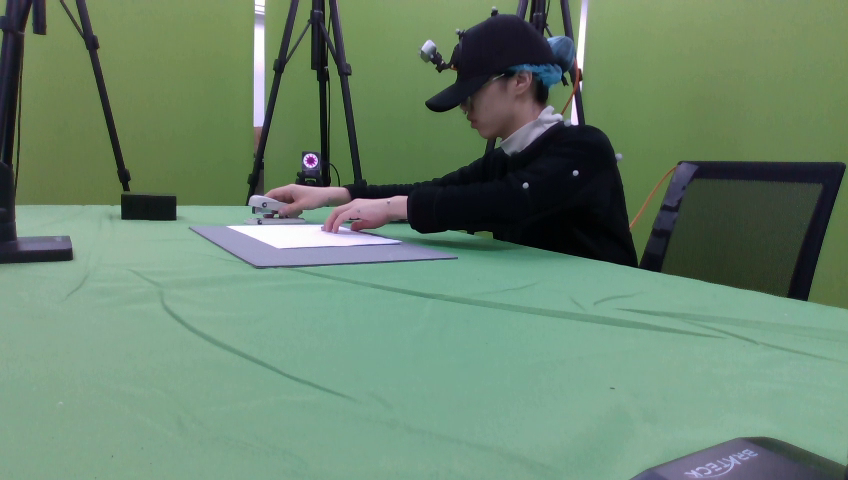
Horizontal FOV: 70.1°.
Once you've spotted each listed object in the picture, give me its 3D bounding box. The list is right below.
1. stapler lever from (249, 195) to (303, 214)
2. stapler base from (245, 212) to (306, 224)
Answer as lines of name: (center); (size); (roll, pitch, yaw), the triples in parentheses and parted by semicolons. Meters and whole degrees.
stapler lever: (-0.310, -0.074, 1.272); (0.026, 0.040, 0.119); (14, 12, 43)
stapler base: (-0.313, -0.049, 1.273); (0.041, 0.024, 0.131); (14, 11, 43)
